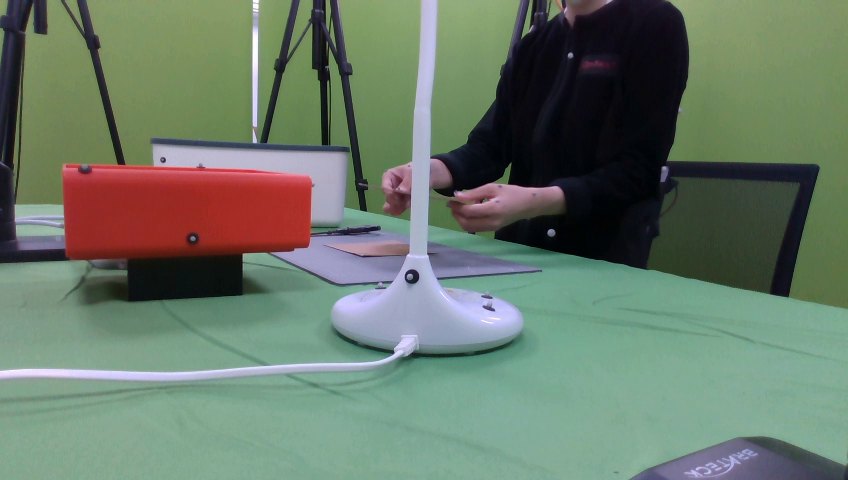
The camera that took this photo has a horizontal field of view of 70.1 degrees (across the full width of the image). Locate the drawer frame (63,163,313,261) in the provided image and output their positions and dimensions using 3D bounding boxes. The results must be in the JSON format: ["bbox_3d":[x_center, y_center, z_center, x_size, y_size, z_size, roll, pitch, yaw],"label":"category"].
[{"bbox_3d":[-0.248,-0.036,0.626,0.215,0.082,0.200,-3,9,-31],"label":"drawer frame"}]

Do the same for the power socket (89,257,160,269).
[{"bbox_3d":[-0.409,0.004,0.793,0.072,0.032,0.225,-2,8,-38],"label":"power socket"}]

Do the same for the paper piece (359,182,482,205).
[{"bbox_3d":[-0.007,-0.067,0.897,0.139,0.008,0.135,7,7,-32],"label":"paper piece"}]

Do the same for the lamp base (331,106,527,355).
[{"bbox_3d":[0.006,-0.012,0.478,0.161,0.180,0.179,2,10,2],"label":"lamp base"}]

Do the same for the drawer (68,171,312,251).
[{"bbox_3d":[-0.247,-0.036,0.629,0.213,0.073,0.193,-3,9,-30],"label":"drawer"}]

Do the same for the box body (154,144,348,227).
[{"bbox_3d":[-0.357,-0.119,1.264,0.365,0.160,0.253,0,7,-18],"label":"box body"}]

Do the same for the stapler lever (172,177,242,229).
[{"bbox_3d":[-0.218,-0.040,0.618,0.027,0.040,0.118,18,11,-2],"label":"stapler lever"}]

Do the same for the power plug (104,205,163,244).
[{"bbox_3d":[-0.390,-0.021,0.815,0.073,0.052,0.035,-1,8,-28],"label":"power plug"}]

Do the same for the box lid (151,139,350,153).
[{"bbox_3d":[-0.352,-0.191,1.256,0.373,0.015,0.262,0,8,-18],"label":"box lid"}]

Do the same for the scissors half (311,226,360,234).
[{"bbox_3d":[-0.166,-0.015,1.094,0.040,0.013,0.176,3,6,40],"label":"scissors half"}]

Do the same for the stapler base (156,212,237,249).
[{"bbox_3d":[-0.227,-0.017,0.624,0.041,0.024,0.130,18,10,-2],"label":"stapler base"}]

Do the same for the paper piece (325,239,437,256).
[{"bbox_3d":[-0.068,0.011,0.936,0.136,0.004,0.134,-3,9,-33],"label":"paper piece"}]

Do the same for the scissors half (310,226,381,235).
[{"bbox_3d":[-0.153,-0.015,1.079,0.176,0.013,0.040,-6,1,-33],"label":"scissors half"}]
